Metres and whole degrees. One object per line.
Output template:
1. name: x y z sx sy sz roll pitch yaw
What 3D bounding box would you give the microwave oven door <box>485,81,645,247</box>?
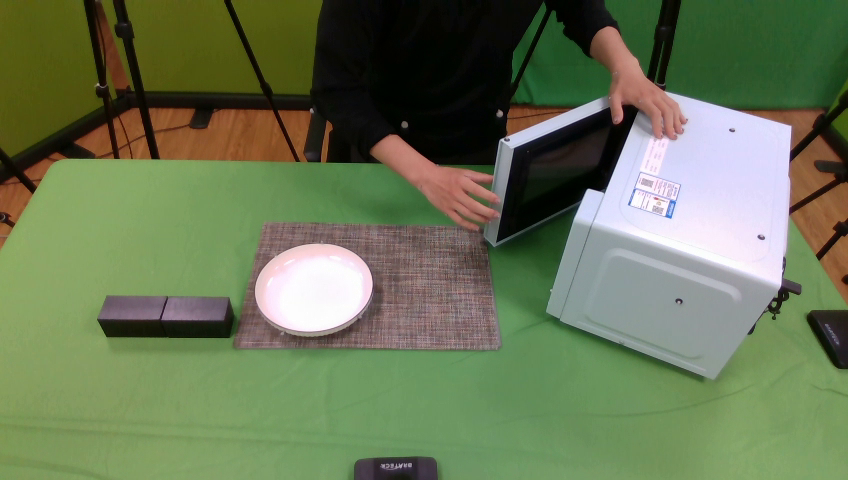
1. microwave oven door: 0.278 -0.150 1.183 0.356 0.245 0.039 -26 52 -25

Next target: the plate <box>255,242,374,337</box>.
1. plate: -0.192 0.090 1.079 0.208 0.039 0.206 2 46 -2

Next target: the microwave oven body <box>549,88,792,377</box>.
1. microwave oven body: 0.456 -0.028 1.088 0.325 0.261 0.440 20 47 16

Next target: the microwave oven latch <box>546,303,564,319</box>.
1. microwave oven latch: 0.242 0.102 1.081 0.030 0.029 0.079 22 48 17
